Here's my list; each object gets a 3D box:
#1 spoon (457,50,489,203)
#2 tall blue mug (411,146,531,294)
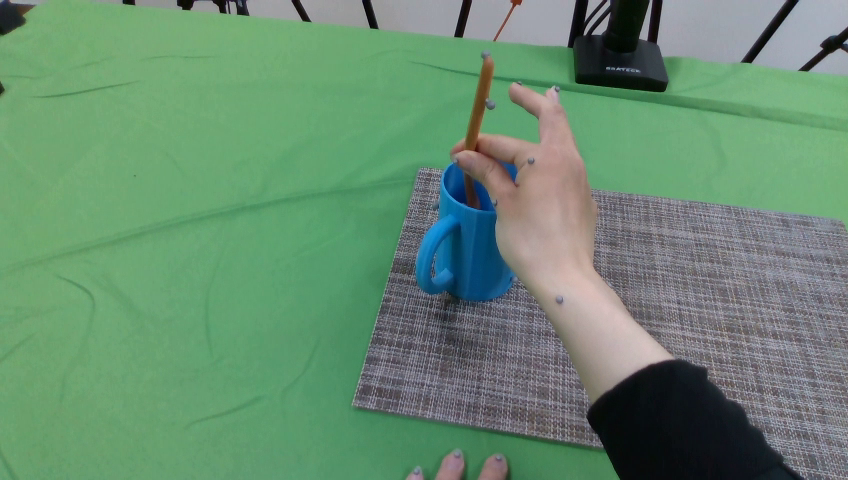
[{"bbox_3d":[0.033,-0.061,0.464,0.021,0.195,0.041,1,54,2],"label":"spoon"},{"bbox_3d":[0.041,-0.005,0.517,0.077,0.109,0.106,14,47,10],"label":"tall blue mug"}]
